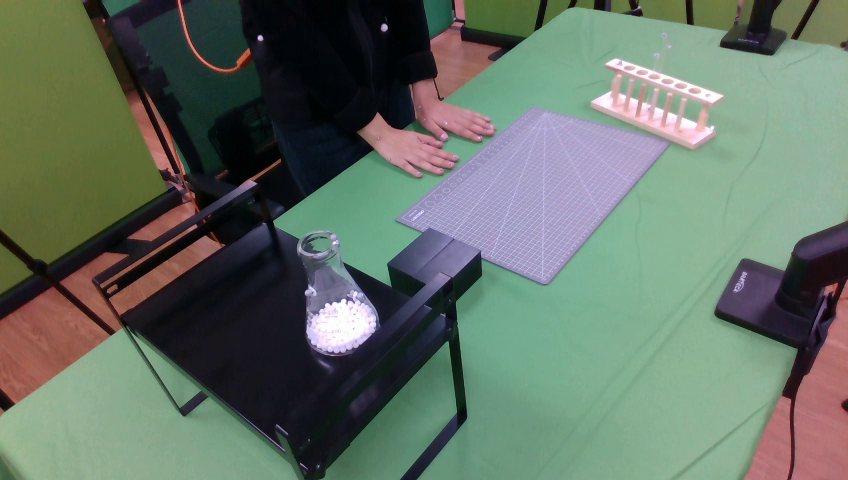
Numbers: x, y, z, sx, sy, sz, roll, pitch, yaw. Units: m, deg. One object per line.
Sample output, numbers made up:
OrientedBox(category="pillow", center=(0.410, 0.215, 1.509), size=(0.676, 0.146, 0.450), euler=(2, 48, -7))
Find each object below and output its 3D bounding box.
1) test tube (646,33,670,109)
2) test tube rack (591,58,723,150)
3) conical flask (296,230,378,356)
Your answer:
OrientedBox(category="test tube", center=(0.445, -0.320, 1.154), size=(0.017, 0.151, 0.017), euler=(-1, 41, 2))
OrientedBox(category="test tube rack", center=(0.442, -0.269, 1.171), size=(0.067, 0.085, 0.240), euler=(-30, 46, -24))
OrientedBox(category="conical flask", center=(-0.090, 0.048, 0.578), size=(0.075, 0.122, 0.075), euler=(-5, 41, 5))
